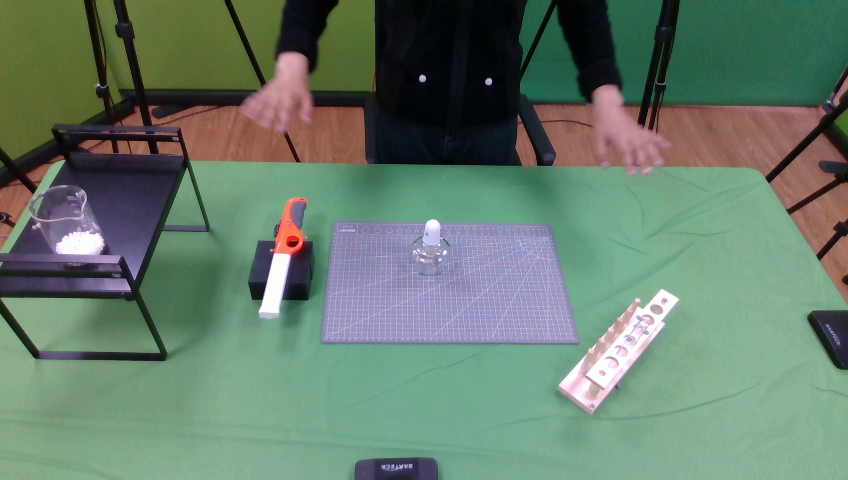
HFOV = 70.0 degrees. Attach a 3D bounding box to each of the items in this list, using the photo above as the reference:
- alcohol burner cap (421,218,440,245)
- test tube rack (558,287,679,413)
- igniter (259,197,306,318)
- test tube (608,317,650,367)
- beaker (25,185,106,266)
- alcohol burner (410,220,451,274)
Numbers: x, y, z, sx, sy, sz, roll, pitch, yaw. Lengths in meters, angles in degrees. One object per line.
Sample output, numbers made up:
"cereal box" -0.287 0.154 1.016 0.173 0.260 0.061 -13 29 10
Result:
"alcohol burner cap" 0.014 -0.018 1.095 0.034 0.048 0.033 5 44 -5
"test tube rack" 0.326 0.170 1.009 0.066 0.085 0.242 36 54 27
"igniter" -0.252 0.021 1.088 0.057 0.025 0.275 4 48 -2
"test tube" 0.314 0.168 0.942 0.017 0.151 0.017 5 48 -5
"beaker" -0.507 -0.017 0.872 0.084 0.101 0.074 23 49 17
"alcohol burner" 0.013 0.007 1.120 0.078 0.120 0.077 1 48 -1
